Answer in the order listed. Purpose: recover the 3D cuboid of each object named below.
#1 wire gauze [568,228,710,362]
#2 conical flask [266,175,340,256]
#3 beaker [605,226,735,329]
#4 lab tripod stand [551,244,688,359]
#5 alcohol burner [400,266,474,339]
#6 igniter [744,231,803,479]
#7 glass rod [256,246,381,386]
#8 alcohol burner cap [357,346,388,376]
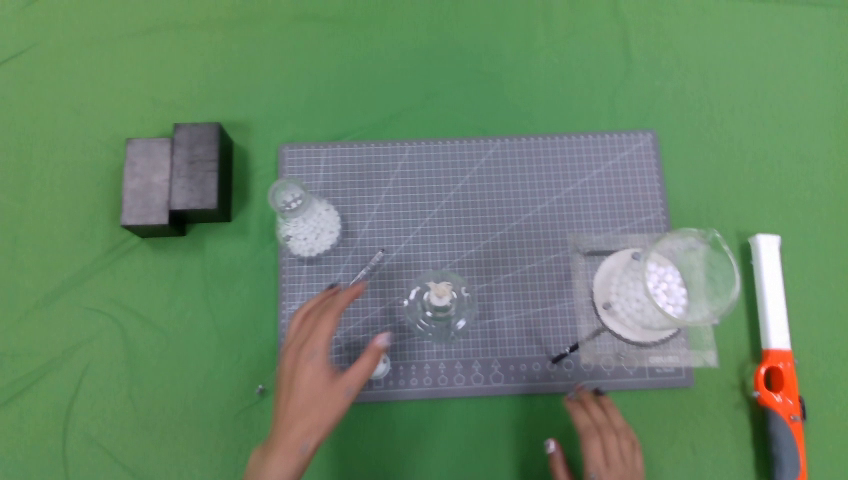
[{"bbox_3d":[0.195,0.049,0.548,0.125,0.011,0.121,1,80,-3],"label":"wire gauze"},{"bbox_3d":[-0.132,-0.031,0.631,0.075,0.122,0.075,0,76,-1],"label":"conical flask"},{"bbox_3d":[0.198,0.034,0.502,0.074,0.100,0.084,33,79,6],"label":"beaker"},{"bbox_3d":[0.193,0.066,0.611,0.148,0.132,0.147,0,78,-1],"label":"lab tripod stand"},{"bbox_3d":[0.013,0.062,0.618,0.078,0.119,0.077,0,77,1],"label":"alcohol burner"},{"bbox_3d":[0.379,0.125,0.660,0.057,0.025,0.275,4,77,-12],"label":"igniter"},{"bbox_3d":[-0.113,0.080,0.663,0.008,0.008,0.199,39,79,8],"label":"glass rod"},{"bbox_3d":[-0.056,0.127,0.638,0.034,0.048,0.033,0,77,-1],"label":"alcohol burner cap"}]
